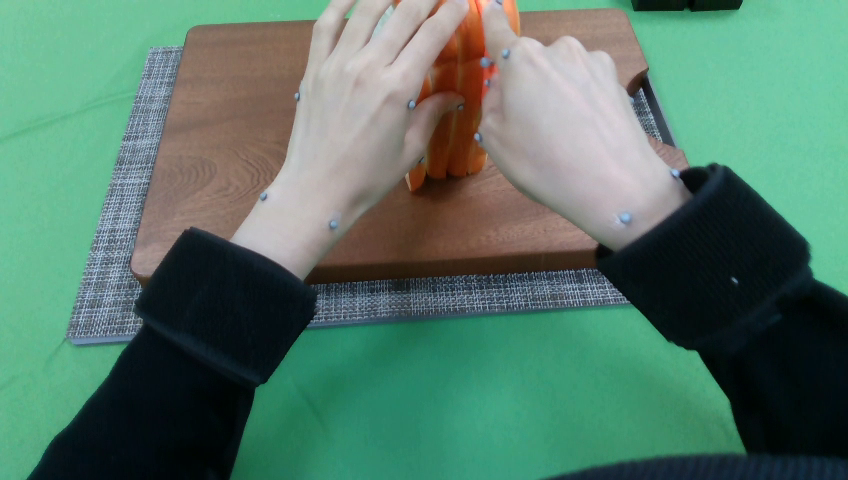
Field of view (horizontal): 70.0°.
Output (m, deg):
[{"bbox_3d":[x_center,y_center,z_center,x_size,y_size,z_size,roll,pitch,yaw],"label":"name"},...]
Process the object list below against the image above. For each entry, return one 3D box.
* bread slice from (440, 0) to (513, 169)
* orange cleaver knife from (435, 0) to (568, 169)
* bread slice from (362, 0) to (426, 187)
[{"bbox_3d":[0.036,-0.131,0.430,0.019,0.132,0.104,-13,55,-11],"label":"bread slice"},{"bbox_3d":[0.036,-0.118,0.374,0.012,0.078,0.209,-13,63,-12],"label":"orange cleaver knife"},{"bbox_3d":[-0.022,-0.121,0.418,0.018,0.135,0.106,-14,52,-12],"label":"bread slice"}]
